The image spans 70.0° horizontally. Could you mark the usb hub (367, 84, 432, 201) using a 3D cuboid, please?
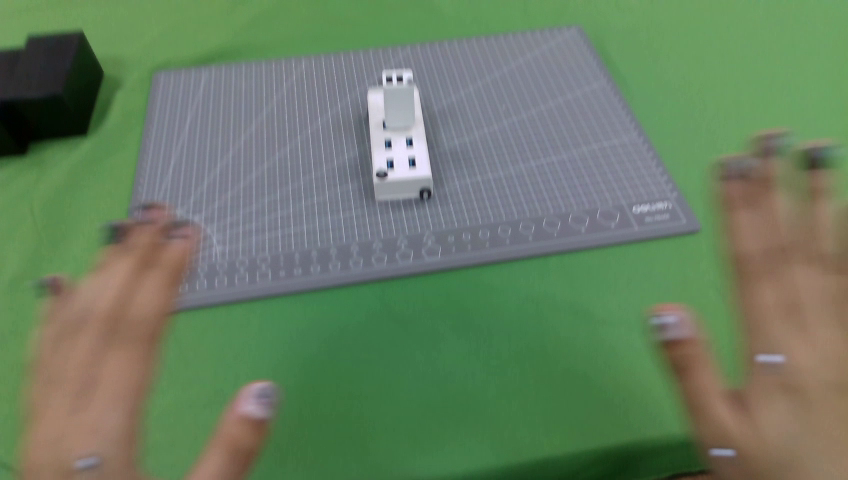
[{"bbox_3d":[-0.024,-0.088,0.532,0.049,0.025,0.124,-5,51,-3],"label":"usb hub"}]

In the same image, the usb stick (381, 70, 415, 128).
[{"bbox_3d":[-0.021,-0.113,0.513,0.027,0.060,0.021,-8,52,-2],"label":"usb stick"}]
